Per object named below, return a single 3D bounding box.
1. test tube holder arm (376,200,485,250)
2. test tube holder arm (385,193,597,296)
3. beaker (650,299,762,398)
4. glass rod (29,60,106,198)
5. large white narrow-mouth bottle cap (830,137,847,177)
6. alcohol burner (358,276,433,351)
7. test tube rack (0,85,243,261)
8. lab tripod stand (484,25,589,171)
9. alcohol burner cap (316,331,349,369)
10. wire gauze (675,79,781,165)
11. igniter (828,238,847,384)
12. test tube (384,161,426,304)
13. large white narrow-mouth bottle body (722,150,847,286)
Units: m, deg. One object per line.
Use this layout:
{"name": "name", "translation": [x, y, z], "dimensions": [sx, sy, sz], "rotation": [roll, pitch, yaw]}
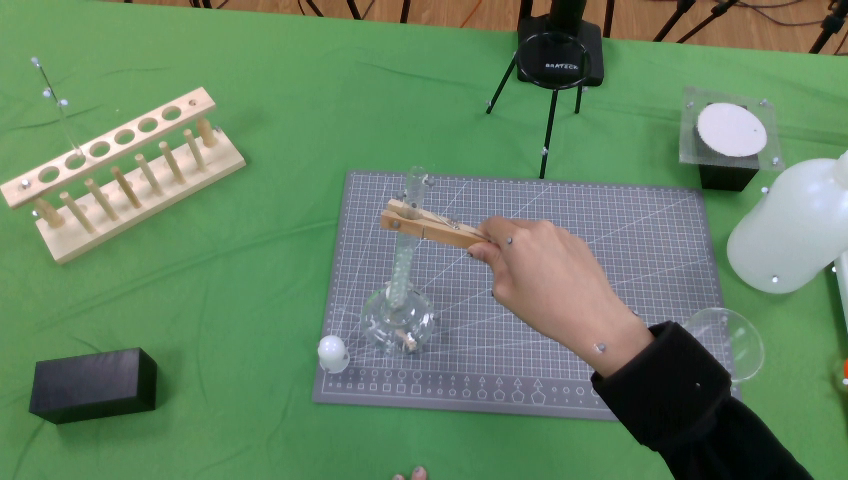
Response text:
{"name": "test tube holder arm", "translation": [0.005, -0.012, 0.474], "dimensions": [0.087, 0.015, 0.010], "rotation": [17, 33, 6]}
{"name": "test tube holder arm", "translation": [0.048, 0.002, 0.470], "dimensions": [0.177, 0.015, 0.013], "rotation": [23, 34, 14]}
{"name": "beaker", "translation": [0.274, 0.113, 0.608], "dimensions": [0.084, 0.101, 0.073], "rotation": [8, 61, 5]}
{"name": "glass rod", "translation": [-0.380, -0.109, 0.653], "dimensions": [0.008, 0.201, 0.008], "rotation": [3, 52, -3]}
{"name": "large white narrow-mouth bottle cap", "translation": [0.403, -0.078, 0.566], "dimensions": [0.038, 0.024, 0.037], "rotation": [1, 60, -1]}
{"name": "alcohol burner", "translation": [-0.029, 0.068, 0.619], "dimensions": [0.078, 0.120, 0.077], "rotation": [2, 60, -2]}
{"name": "test tube rack", "translation": [-0.346, -0.080, 0.713], "dimensions": [0.242, 0.086, 0.066], "rotation": [-33, 67, -18]}
{"name": "lab tripod stand", "translation": [0.147, -0.182, 0.753], "dimensions": [0.148, 0.132, 0.147], "rotation": [1, 62, -2]}
{"name": "alcohol burner cap", "translation": [-0.097, 0.113, 0.633], "dimensions": [0.034, 0.048, 0.033], "rotation": [0, 62, 1]}
{"name": "wire gauze", "translation": [0.374, -0.146, 0.753], "dimensions": [0.121, 0.011, 0.124], "rotation": [10, 61, 5]}
{"name": "igniter", "translation": [0.474, 0.115, 0.655], "dimensions": [0.057, 0.025, 0.274], "rotation": [13, 61, -6]}
{"name": "test tube", "translation": [-0.018, 0.000, 0.500], "dimensions": [0.017, 0.151, 0.017], "rotation": [7, 41, -6]}
{"name": "large white narrow-mouth bottle body", "translation": [0.402, -0.034, 0.641], "dimensions": [0.102, 0.196, 0.101], "rotation": [0, 60, 0]}
